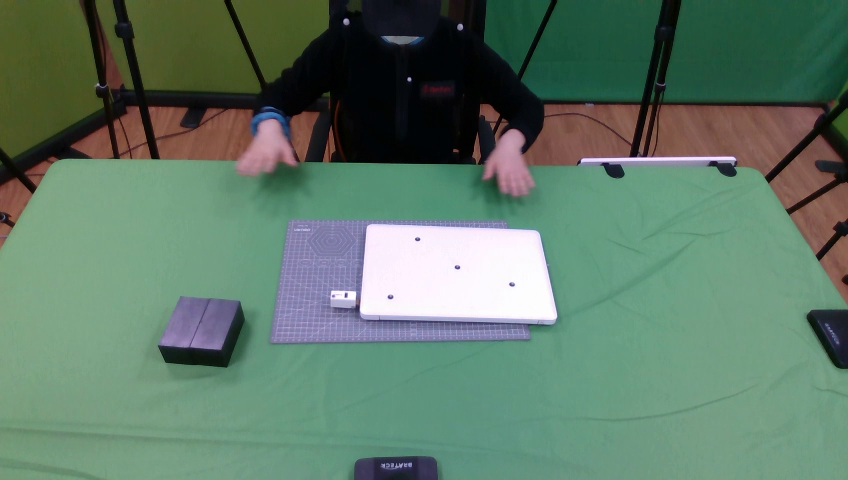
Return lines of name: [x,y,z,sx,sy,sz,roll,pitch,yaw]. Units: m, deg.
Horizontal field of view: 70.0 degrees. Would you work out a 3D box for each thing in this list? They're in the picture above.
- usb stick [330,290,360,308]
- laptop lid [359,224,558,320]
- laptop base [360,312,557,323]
usb stick: [-0.135,0.105,1.069,0.059,0.027,0.021,6,44,-6]
laptop lid: [0.062,0.053,1.138,0.357,0.013,0.240,3,44,-2]
laptop base: [0.061,0.063,1.145,0.354,0.023,0.234,2,43,-3]
